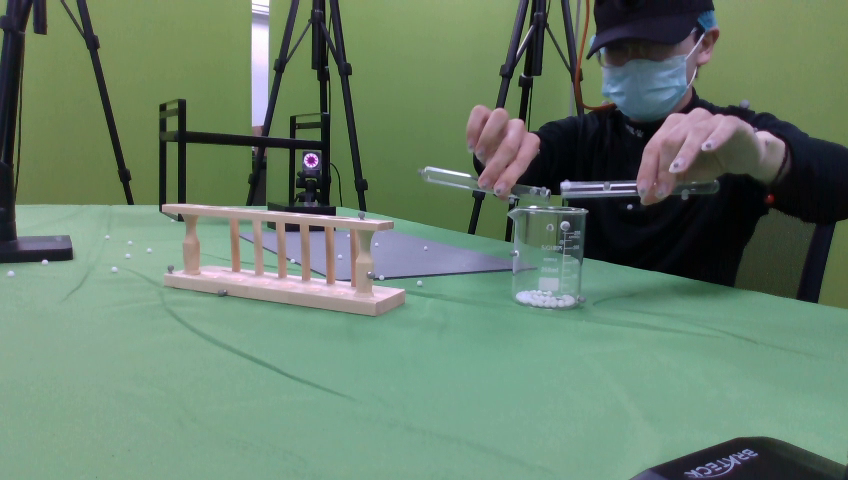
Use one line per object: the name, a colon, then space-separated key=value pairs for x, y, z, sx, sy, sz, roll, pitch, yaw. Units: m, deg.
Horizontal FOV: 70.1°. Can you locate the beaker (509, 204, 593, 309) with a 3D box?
beaker: x=0.126 y=0.015 z=0.613 sx=0.084 sy=0.100 sz=0.074 roll=1 pitch=7 yaw=-5

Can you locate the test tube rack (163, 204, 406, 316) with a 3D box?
test tube rack: x=-0.141 y=0.013 z=0.601 sx=0.241 sy=0.085 sz=0.067 roll=5 pitch=8 yaw=21

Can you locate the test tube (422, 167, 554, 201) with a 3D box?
test tube: x=0.065 y=-0.061 z=0.651 sx=0.149 sy=0.017 sz=0.017 roll=12 pitch=11 yaw=25

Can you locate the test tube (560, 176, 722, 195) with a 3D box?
test tube: x=0.211 y=-0.054 z=0.595 sx=0.150 sy=0.017 sz=0.017 roll=0 pitch=7 yaw=14
